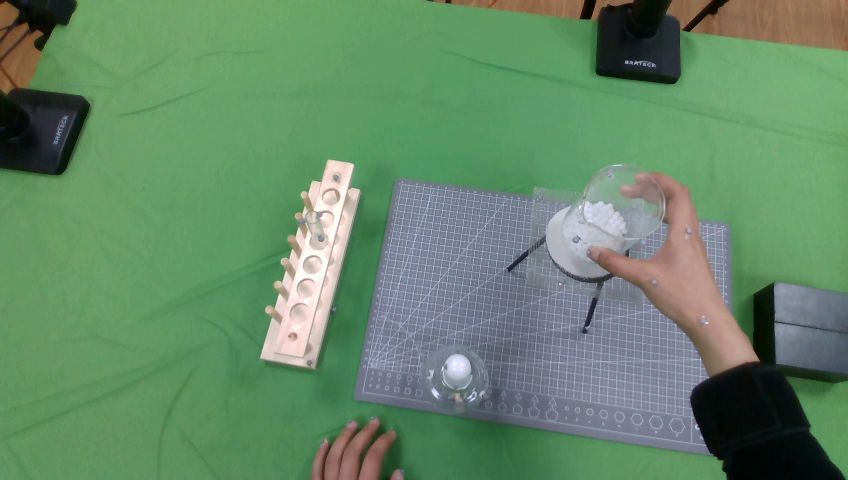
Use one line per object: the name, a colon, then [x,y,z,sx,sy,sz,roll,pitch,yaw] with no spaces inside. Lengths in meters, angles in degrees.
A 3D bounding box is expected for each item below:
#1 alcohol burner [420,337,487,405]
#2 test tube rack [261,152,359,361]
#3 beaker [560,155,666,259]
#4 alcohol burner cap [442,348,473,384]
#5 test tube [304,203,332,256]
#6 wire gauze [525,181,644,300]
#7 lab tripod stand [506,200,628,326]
alcohol burner: [0.034,0.144,0.678,0.078,0.120,0.077,1,69,-1]
test tube rack: [-0.142,0.017,0.739,0.067,0.085,0.241,11,70,3]
beaker: [0.175,-0.025,0.588,0.084,0.101,0.073,-21,75,-9]
alcohol burner cap: [0.035,0.132,0.644,0.034,0.048,0.033,-2,65,4]
test tube: [-0.120,-0.008,0.696,0.017,0.151,0.017,1,71,-2]
wire gauze: [0.174,-0.003,0.652,0.125,0.011,0.121,9,70,2]
lab tripod stand: [0.178,0.016,0.716,0.148,0.132,0.147,0,68,0]
